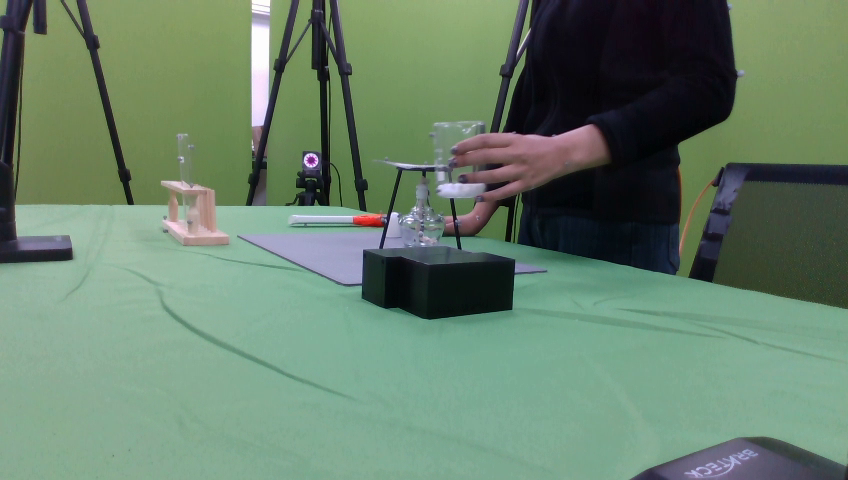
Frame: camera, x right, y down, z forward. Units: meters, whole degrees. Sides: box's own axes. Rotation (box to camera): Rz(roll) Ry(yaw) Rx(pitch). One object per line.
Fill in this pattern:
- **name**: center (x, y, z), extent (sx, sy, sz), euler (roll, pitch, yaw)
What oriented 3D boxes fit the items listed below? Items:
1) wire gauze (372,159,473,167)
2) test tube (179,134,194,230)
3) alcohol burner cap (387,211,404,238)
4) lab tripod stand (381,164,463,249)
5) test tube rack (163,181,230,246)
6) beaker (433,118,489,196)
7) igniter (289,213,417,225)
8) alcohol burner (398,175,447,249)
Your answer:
- **wire gauze**: center (-0.004, -0.122, 0.959), extent (0.122, 0.011, 0.124), euler (-4, 9, -33)
- **test tube**: center (-0.366, -0.089, 0.938), extent (0.017, 0.150, 0.017), euler (-1, 9, 1)
- **alcohol burner cap**: center (-0.053, -0.029, 1.107), extent (0.034, 0.048, 0.034), euler (2, 9, 0)
- **lab tripod stand**: center (-0.003, -0.055, 0.967), extent (0.148, 0.131, 0.148), euler (2, 9, 0)
- **test tube rack**: center (-0.387, -0.050, 1.015), extent (0.067, 0.085, 0.241), euler (-2, 9, -30)
- **beaker**: center (0.053, -0.112, 0.820), extent (0.074, 0.100, 0.084), euler (1, 10, 19)
- **igniter**: center (-0.144, -0.044, 1.275), extent (0.278, 0.025, 0.057), euler (-1, -2, -27)
- **alcohol burner**: center (-0.002, -0.046, 0.973), extent (0.078, 0.119, 0.078), euler (1, 7, 0)
